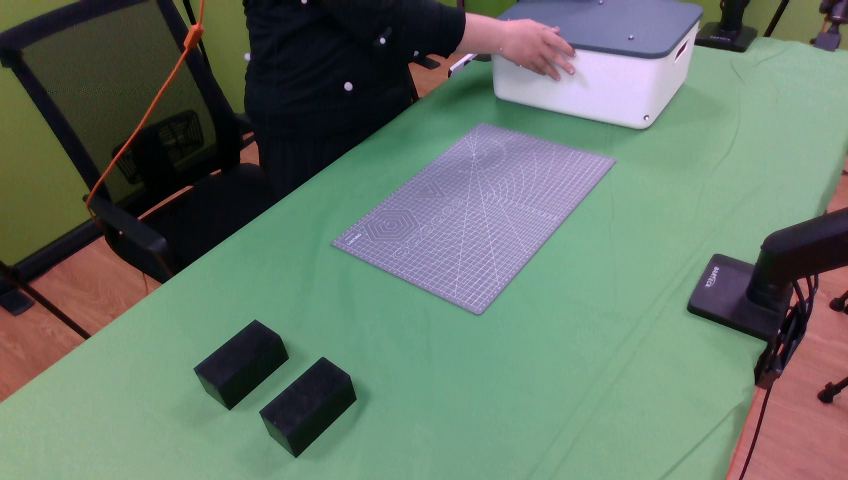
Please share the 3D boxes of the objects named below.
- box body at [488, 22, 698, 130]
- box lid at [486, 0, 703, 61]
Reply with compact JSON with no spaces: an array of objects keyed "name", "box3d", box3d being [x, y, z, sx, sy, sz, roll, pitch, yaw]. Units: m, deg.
[{"name":"box body","box3d":[0.345,-0.379,1.257,0.361,0.161,0.255,20,48,29]},{"name":"box lid","box3d":[0.338,-0.435,1.207,0.369,0.015,0.264,20,47,29]}]
